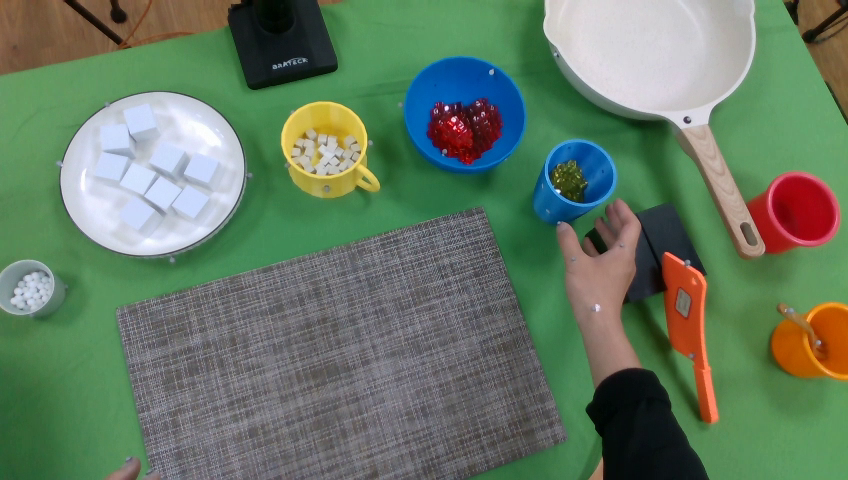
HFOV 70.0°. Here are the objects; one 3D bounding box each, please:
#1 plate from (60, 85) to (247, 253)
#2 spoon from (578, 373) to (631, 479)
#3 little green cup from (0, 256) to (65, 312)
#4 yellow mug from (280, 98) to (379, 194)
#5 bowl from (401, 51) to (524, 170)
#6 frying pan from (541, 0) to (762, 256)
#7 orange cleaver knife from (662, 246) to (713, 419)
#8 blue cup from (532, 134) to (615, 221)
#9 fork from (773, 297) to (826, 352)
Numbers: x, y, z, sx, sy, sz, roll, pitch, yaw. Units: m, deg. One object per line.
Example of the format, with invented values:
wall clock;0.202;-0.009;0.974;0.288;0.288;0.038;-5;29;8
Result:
plate;-0.315;-0.083;0.721;0.208;0.039;0.206;2;75;-6
spoon;0.207;0.242;0.704;0.041;0.022;0.193;24;73;13
little green cup;-0.433;0.051;0.670;0.062;0.039;0.061;2;76;-7
yellow mug;-0.109;-0.105;0.737;0.131;0.064;0.099;35;74;2
bowl;0.043;-0.149;0.760;0.151;0.077;0.150;2;75;-6
frying pan;0.321;-0.202;0.793;0.307;0.103;0.484;-11;69;-8
orange cleaver knife;0.312;0.111;0.720;0.012;0.076;0.212;-17;107;-10
blue cup;0.173;-0.067;0.740;0.093;0.100;0.092;2;72;-5
fork;0.439;0.099;0.703;0.209;0.018;0.028;28;68;-44
